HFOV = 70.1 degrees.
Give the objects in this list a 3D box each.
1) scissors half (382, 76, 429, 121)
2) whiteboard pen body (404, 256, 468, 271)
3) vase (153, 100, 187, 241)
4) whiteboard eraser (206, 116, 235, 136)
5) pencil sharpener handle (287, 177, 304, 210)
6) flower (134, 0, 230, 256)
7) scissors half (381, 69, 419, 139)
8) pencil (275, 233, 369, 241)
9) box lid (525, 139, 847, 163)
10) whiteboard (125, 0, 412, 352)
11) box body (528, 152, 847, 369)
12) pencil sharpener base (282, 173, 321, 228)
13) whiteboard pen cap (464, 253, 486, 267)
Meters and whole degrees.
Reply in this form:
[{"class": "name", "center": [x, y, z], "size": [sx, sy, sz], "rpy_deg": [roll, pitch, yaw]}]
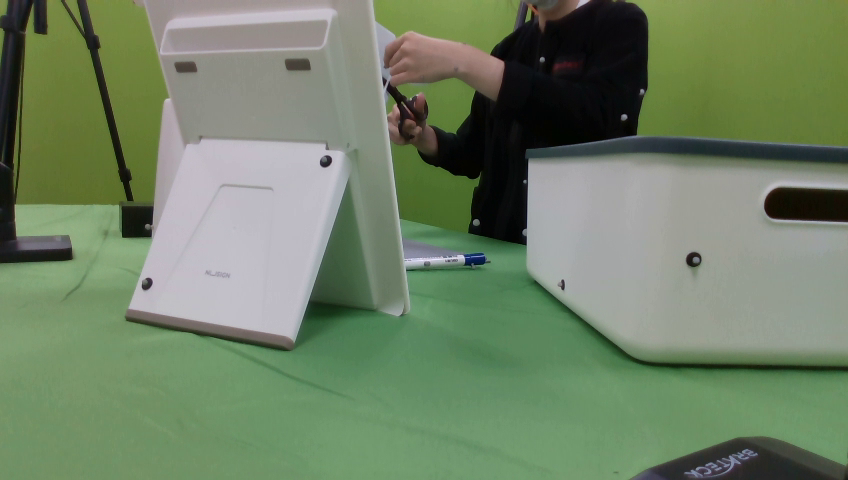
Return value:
[{"class": "scissors half", "center": [-0.036, -0.257, 1.076], "size": [0.013, 0.040, 0.176], "rpy_deg": [21, 0, 31]}, {"class": "whiteboard pen body", "center": [0.013, 0.030, 0.792], "size": [0.141, 0.017, 0.017], "rpy_deg": [-2, 9, -24]}, {"class": "vase", "center": [-0.278, -0.066, 0.736], "size": [0.098, 0.200, 0.098], "rpy_deg": [2, 9, 0]}, {"class": "whiteboard eraser", "center": [-0.450, -0.252, 1.335], "size": [0.056, 0.042, 0.112], "rpy_deg": [1, 7, -22]}, {"class": "pencil sharpener handle", "center": [-0.269, -0.096, 1.257], "size": [0.036, 0.067, 0.030], "rpy_deg": [-8, 8, -27]}, {"class": "flower", "center": [-0.282, -0.147, 0.713], "size": [0.038, 0.362, 0.044], "rpy_deg": [-23, 24, -31]}, {"class": "scissors half", "center": [-0.047, -0.239, 1.072], "size": [0.012, 0.040, 0.176], "rpy_deg": [26, -21, 33]}, {"class": "pencil", "center": [-0.169, -0.006, 1.036], "size": [0.195, 0.012, 0.012], "rpy_deg": [-2, 9, -45]}, {"class": "box lid", "center": [0.261, -0.078, 0.580], "size": [0.264, 0.015, 0.371], "rpy_deg": [2, 7, -4]}, {"class": "whiteboard", "center": [-0.151, -0.049, 0.472], "size": [0.216, 0.305, 0.144], "rpy_deg": [6, 27, 24]}, {"class": "box body", "center": [0.257, -0.005, 0.591], "size": [0.254, 0.160, 0.363], "rpy_deg": [2, 7, -4]}, {"class": "pencil sharpener base", "center": [-0.247, -0.080, 1.212], "size": [0.061, 0.107, 0.076], "rpy_deg": [-2, 5, -28]}, {"class": "whiteboard pen cap", "center": [0.066, 0.027, 0.818], "size": [0.033, 0.018, 0.018], "rpy_deg": [-5, 10, -24]}]
